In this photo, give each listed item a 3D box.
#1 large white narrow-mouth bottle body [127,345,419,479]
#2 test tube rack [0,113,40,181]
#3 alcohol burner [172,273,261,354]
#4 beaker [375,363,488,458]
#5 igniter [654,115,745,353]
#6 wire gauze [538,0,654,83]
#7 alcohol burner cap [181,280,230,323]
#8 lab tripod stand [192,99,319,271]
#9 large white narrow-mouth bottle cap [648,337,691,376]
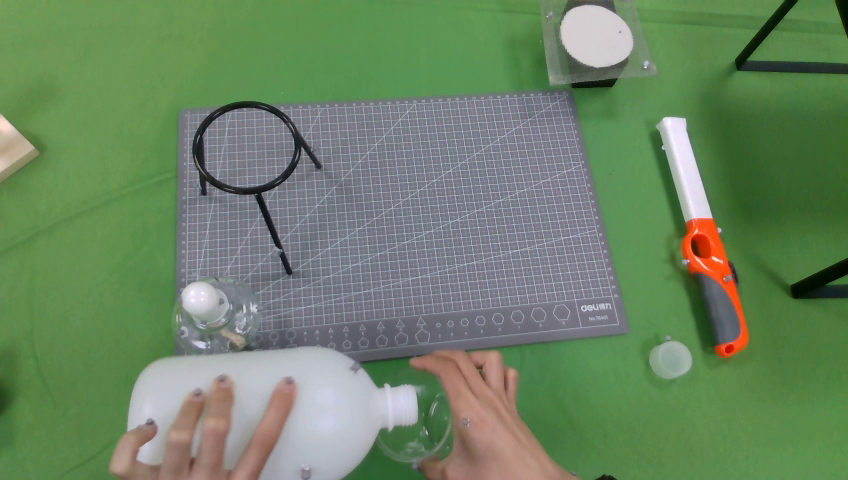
[{"bbox_3d":[-0.102,0.129,0.445,0.195,0.102,0.101,-3,69,-10],"label":"large white narrow-mouth bottle body"},{"bbox_3d":[-0.506,-0.048,0.567,0.066,0.085,0.242,41,71,10],"label":"test tube rack"},{"bbox_3d":[-0.188,0.061,0.539,0.078,0.120,0.077,3,67,-6],"label":"alcohol burner"},{"bbox_3d":[0.007,0.151,0.528,0.083,0.101,0.073,1,72,27],"label":"beaker"},{"bbox_3d":[0.300,-0.014,0.663,0.057,0.025,0.274,0,70,-17],"label":"igniter"},{"bbox_3d":[0.193,-0.236,0.694,0.121,0.011,0.124,-3,70,-6],"label":"wire gauze"},{"bbox_3d":[-0.184,0.050,0.505,0.034,0.048,0.033,1,75,-4],"label":"alcohol burner cap"},{"bbox_3d":[-0.155,-0.056,0.576,0.148,0.132,0.147,3,70,-6],"label":"lab tripod stand"},{"bbox_3d":[0.248,0.118,0.614,0.038,0.024,0.037,2,69,-4],"label":"large white narrow-mouth bottle cap"}]
